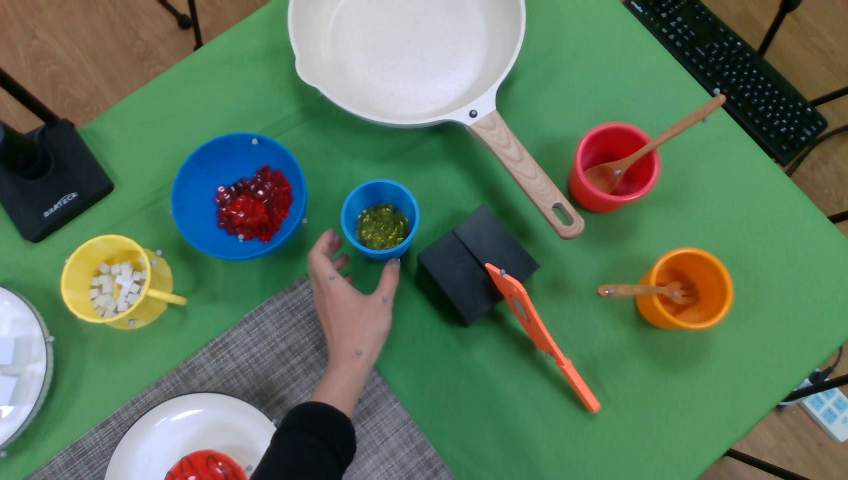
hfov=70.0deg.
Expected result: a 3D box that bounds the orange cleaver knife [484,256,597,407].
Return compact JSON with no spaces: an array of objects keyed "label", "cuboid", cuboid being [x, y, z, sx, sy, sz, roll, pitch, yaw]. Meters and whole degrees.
[{"label":"orange cleaver knife","cuboid":[0.131,0.104,0.684,0.012,0.076,0.213,-38,109,-8]}]

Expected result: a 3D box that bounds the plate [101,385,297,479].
[{"label":"plate","cuboid":[-0.242,0.264,0.662,0.209,0.038,0.208,0,78,-1]}]

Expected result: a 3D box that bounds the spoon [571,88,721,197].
[{"label":"spoon","cuboid":[0.253,-0.111,0.702,0.194,0.022,0.041,-37,75,36]}]

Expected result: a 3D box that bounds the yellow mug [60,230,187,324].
[{"label":"yellow mug","cuboid":[-0.338,0.048,0.700,0.131,0.064,0.099,15,77,2]}]

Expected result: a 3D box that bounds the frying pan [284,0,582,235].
[{"label":"frying pan","cuboid":[0.030,-0.197,0.739,0.307,0.103,0.484,-32,71,-6]}]

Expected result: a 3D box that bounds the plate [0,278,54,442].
[{"label":"plate","cuboid":[-0.524,0.141,0.691,0.208,0.039,0.206,0,77,0]}]

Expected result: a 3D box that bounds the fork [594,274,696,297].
[{"label":"fork","cuboid":[0.246,0.049,0.663,0.209,0.018,0.028,5,72,-44]}]

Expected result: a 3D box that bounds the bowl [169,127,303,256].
[{"label":"bowl","cuboid":[-0.211,-0.048,0.717,0.151,0.077,0.150,0,78,-1]}]

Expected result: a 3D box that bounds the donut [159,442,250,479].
[{"label":"donut","cuboid":[-0.235,0.267,0.649,0.099,0.048,0.098,0,81,-1]}]

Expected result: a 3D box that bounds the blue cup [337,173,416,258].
[{"label":"blue cup","cuboid":[-0.053,-0.020,0.699,0.093,0.100,0.092,1,76,-2]}]
